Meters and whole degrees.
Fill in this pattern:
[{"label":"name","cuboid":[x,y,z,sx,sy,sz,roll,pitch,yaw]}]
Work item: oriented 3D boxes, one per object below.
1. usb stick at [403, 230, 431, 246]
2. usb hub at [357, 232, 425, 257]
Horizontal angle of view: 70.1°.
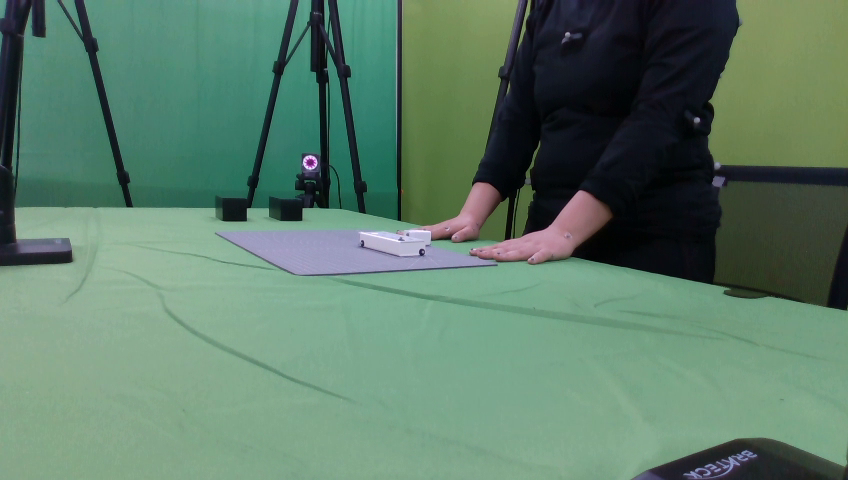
[{"label":"usb stick","cuboid":[-0.018,-0.002,1.019,0.059,0.027,0.021,-5,14,-34]},{"label":"usb hub","cuboid":[-0.055,0.005,0.947,0.050,0.025,0.124,-3,9,-36]}]
